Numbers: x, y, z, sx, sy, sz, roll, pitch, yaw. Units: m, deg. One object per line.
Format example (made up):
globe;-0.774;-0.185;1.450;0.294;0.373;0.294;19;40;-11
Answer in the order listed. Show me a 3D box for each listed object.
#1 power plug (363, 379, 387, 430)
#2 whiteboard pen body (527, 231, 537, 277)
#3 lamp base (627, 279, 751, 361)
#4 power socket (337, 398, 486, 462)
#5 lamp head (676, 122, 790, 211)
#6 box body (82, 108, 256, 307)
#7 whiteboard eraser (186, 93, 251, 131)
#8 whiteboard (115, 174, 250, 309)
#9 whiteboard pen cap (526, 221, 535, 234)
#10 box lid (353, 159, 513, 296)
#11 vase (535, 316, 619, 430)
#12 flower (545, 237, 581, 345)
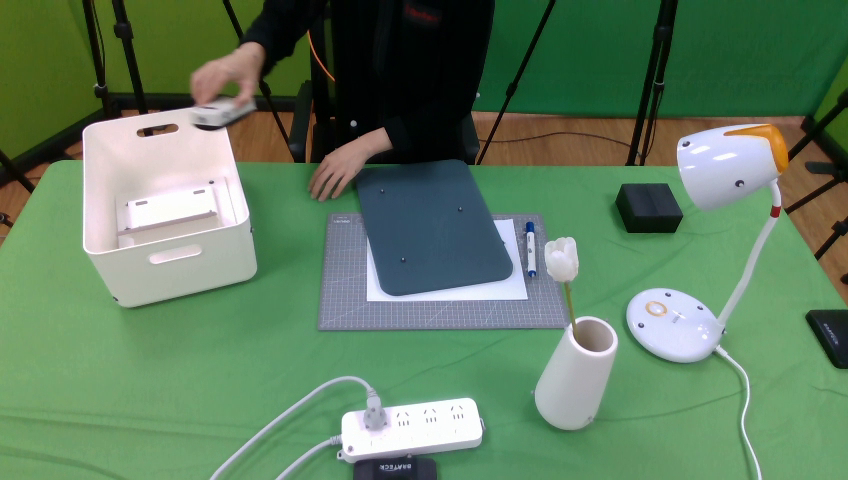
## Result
power plug;-0.071;0.252;0.911;0.035;0.053;0.072;3;40;0
whiteboard pen body;0.211;0.018;1.191;0.017;0.017;0.140;6;44;2
lamp base;0.460;0.100;1.027;0.178;0.181;0.160;27;51;17
power socket;-0.018;0.285;0.914;0.227;0.033;0.071;-4;46;-8
lamp head;0.423;-0.104;0.819;0.122;0.113;0.112;-13;33;40
box body;-0.471;-0.070;1.131;0.254;0.161;0.361;-14;49;-17
whiteboard eraser;-0.352;-0.221;1.045;0.055;0.042;0.112;7;31;20
whiteboard;-0.473;-0.055;1.130;0.217;0.144;0.303;-14;50;-16
whiteboard pen cap;0.216;-0.022;1.234;0.018;0.018;0.033;6;44;1
box lid;0.008;-0.039;1.242;0.264;0.015;0.369;-8;47;-12
vase;0.229;0.200;0.901;0.098;0.201;0.097;3;46;-3
flower;0.213;0.137;0.846;0.038;0.364;0.044;21;55;39
